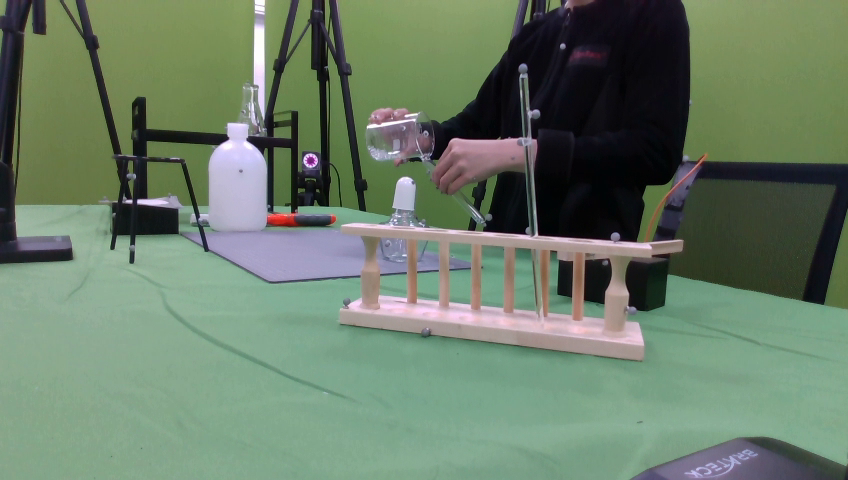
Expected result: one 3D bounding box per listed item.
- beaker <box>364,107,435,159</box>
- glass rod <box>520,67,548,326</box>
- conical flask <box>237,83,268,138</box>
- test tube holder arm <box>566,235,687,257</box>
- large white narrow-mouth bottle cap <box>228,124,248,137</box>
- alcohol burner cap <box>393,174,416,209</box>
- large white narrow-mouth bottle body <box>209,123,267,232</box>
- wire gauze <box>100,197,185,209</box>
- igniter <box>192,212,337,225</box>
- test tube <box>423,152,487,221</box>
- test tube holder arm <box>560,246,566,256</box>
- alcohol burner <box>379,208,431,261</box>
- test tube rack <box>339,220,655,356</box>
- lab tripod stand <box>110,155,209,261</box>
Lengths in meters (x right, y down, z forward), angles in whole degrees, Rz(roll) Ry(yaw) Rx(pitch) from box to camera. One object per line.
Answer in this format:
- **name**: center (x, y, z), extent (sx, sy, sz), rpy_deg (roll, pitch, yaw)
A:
- **beaker**: center (-0.041, -0.172, 1.006), extent (0.100, 0.084, 0.074), rpy_deg (-3, 5, 26)
- **glass rod**: center (0.084, -0.029, 0.458), extent (0.008, 0.199, 0.008), rpy_deg (-6, 11, 2)
- **conical flask**: center (-0.402, -0.299, 1.406), extent (0.075, 0.122, 0.075), rpy_deg (2, 7, 0)
- **test tube holder arm**: center (0.215, 0.006, 0.630), extent (0.179, 0.015, 0.013), rpy_deg (-3, 9, -31)
- **large white narrow-mouth bottle cap**: center (-0.338, -0.198, 1.097), extent (0.038, 0.024, 0.037), rpy_deg (2, 8, 0)
- **alcohol burner cap**: center (-0.025, -0.067, 0.834), extent (0.034, 0.048, 0.034), rpy_deg (8, 7, -1)
- **large white narrow-mouth bottle body**: center (-0.340, -0.115, 1.109), extent (0.102, 0.194, 0.102), rpy_deg (2, 8, 0)
- **wire gauze**: center (-0.469, -0.062, 1.008), extent (0.126, 0.011, 0.121), rpy_deg (-2, 8, -25)
- **igniter**: center (-0.311, -0.043, 1.203), extent (0.278, 0.025, 0.057), rpy_deg (-1, -5, -25)
- **test tube**: center (0.049, -0.085, 0.964), extent (0.150, 0.017, 0.017), rpy_deg (49, 28, 19)
- **test tube holder arm**: center (0.173, 0.007, 0.611), extent (0.088, 0.015, 0.010), rpy_deg (-3, 9, -30)
- **alcohol burner**: center (-0.027, -0.031, 0.838), extent (0.078, 0.119, 0.078), rpy_deg (0, 6, 0)
- **test tube rack**: center (0.056, 0.032, 0.495), extent (0.242, 0.085, 0.067), rpy_deg (4, 7, 15)
- **lab tripod stand**: center (-0.361, -0.046, 0.806), extent (0.148, 0.131, 0.148), rpy_deg (2, 5, 0)
